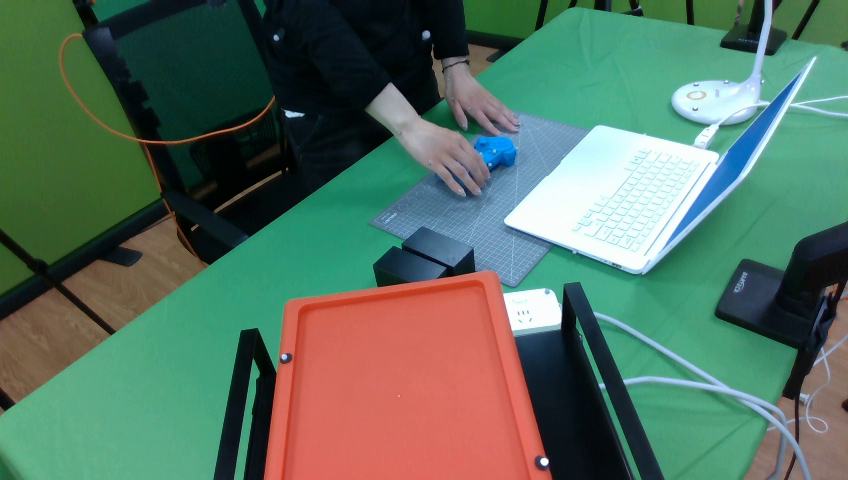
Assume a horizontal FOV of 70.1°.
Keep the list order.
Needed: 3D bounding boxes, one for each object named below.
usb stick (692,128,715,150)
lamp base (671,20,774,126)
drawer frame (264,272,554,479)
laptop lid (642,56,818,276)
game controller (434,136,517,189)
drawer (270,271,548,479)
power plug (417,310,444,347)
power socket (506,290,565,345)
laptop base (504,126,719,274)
[{"bbox_3d":[0.501,-0.176,1.091,0.021,0.027,0.059,30,56,28],"label":"usb stick"},{"bbox_3d":[0.581,-0.332,1.154,0.179,0.181,0.160,2,41,7],"label":"lamp base"},{"bbox_3d":[-0.016,0.134,0.494,0.202,0.083,0.212,-8,41,-2],"label":"drawer frame"},{"bbox_3d":[0.445,-0.108,0.876,0.013,0.241,0.357,39,53,12],"label":"laptop lid"},{"bbox_3d":[0.100,-0.151,1.109,0.096,0.052,0.156,31,51,31],"label":"game controller"},{"bbox_3d":[-0.018,0.132,0.498,0.195,0.073,0.210,-7,41,-1],"label":"drawer"},{"bbox_3d":[0.007,0.123,0.784,0.035,0.053,0.072,-1,42,8],"label":"power plug"},{"bbox_3d":[0.081,0.112,0.822,0.227,0.033,0.072,-7,40,0],"label":"power socket"},{"bbox_3d":[0.325,-0.084,1.027,0.233,0.023,0.355,21,48,32],"label":"laptop base"}]
